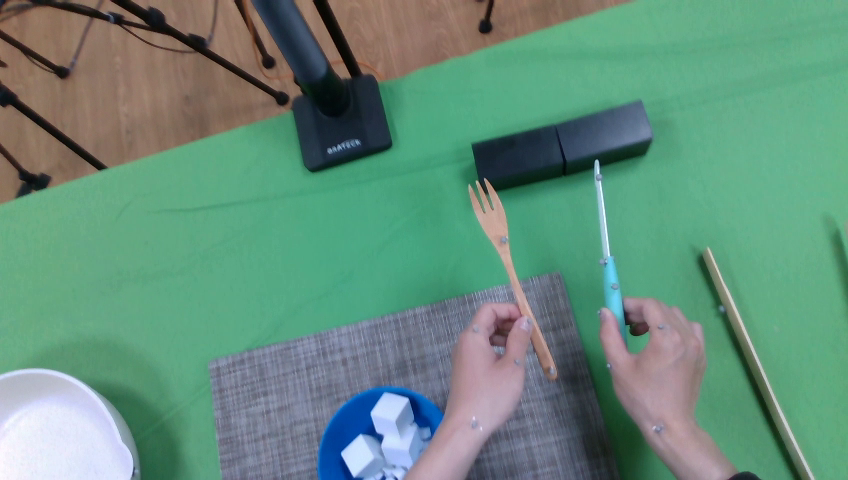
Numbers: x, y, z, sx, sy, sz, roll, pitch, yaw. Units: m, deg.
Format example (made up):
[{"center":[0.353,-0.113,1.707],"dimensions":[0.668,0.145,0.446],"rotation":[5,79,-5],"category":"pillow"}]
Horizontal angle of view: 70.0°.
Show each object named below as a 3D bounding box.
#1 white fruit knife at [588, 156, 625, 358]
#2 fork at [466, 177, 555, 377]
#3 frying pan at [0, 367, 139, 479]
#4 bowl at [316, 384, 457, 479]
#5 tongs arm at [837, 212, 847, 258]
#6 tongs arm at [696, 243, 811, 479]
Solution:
[{"center":[0.177,0.021,0.596],"dimensions":[0.016,0.027,0.208],"rotation":[-10,98,0],"category":"white fruit knife"},{"center":[0.087,0.038,0.590],"dimensions":[0.028,0.018,0.207],"rotation":[-21,89,9],"category":"fork"},{"center":[-0.448,0.392,0.683],"dimensions":[0.307,0.103,0.483],"rotation":[-17,65,6],"category":"frying pan"},{"center":[-0.033,0.234,0.658],"dimensions":[0.151,0.077,0.150],"rotation":[-2,76,10],"category":"bowl"},{"center":[0.451,0.159,0.614],"dimensions":[0.050,0.027,0.382],"rotation":[-8,76,10],"category":"tongs arm"},{"center":[0.373,0.178,0.628],"dimensions":[0.028,0.028,0.385],"rotation":[-20,73,3],"category":"tongs arm"}]
